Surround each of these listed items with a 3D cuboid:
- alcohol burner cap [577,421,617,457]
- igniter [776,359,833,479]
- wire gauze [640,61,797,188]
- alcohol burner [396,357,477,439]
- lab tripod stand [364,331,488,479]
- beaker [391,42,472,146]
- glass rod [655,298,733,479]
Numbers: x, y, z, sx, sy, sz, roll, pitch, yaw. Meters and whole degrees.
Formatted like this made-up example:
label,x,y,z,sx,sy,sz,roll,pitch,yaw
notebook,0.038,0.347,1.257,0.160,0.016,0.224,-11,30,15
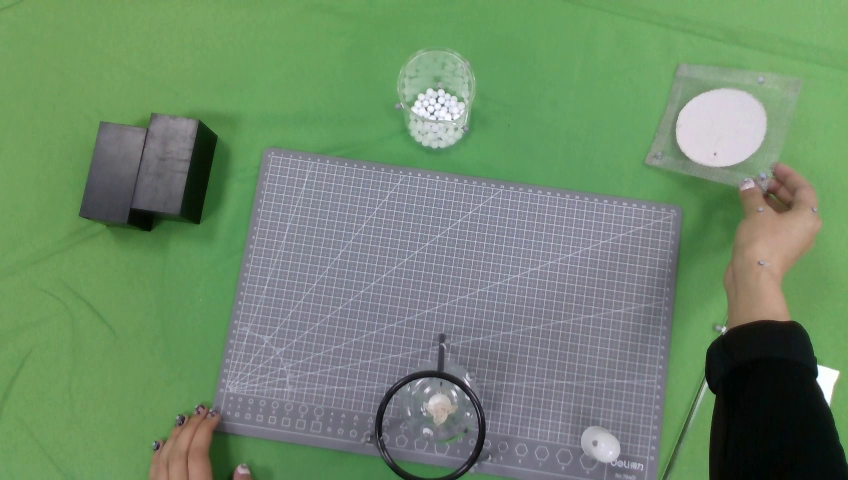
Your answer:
label,x,y,z,sx,sy,sz,roll,pitch,yaw
alcohol burner cap,0.170,0.195,0.589,0.034,0.048,0.033,0,80,2
igniter,0.353,0.252,0.589,0.057,0.025,0.276,18,82,-8
wire gauze,0.302,-0.125,0.629,0.124,0.011,0.121,19,87,29
alcohol burner,0.012,0.147,0.562,0.078,0.119,0.077,0,80,0
lab tripod stand,0.004,0.154,0.551,0.148,0.132,0.148,0,80,3
beaker,0.011,-0.140,0.613,0.074,0.100,0.084,-35,83,-4
glass rod,0.274,0.149,0.614,0.008,0.008,0.199,25,83,4
